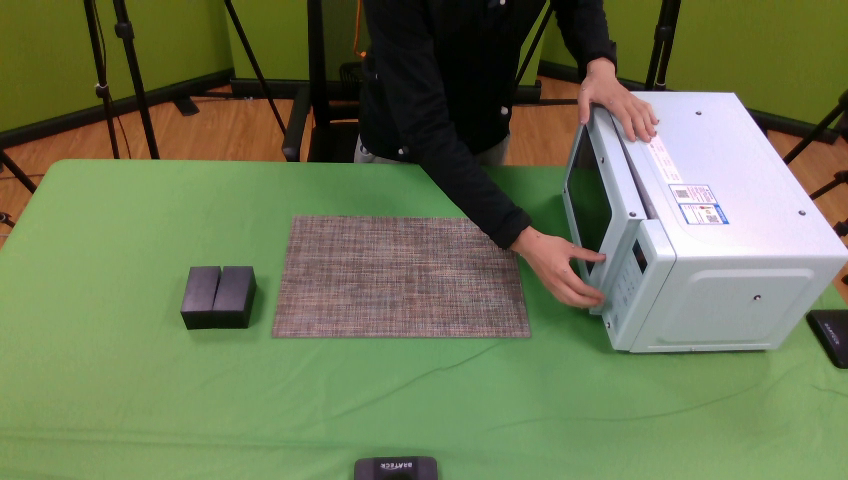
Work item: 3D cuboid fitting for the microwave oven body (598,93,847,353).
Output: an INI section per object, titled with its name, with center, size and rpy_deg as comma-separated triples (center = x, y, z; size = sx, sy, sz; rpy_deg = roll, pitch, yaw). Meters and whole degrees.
[microwave oven body]
center = 0.475, -0.041, 1.109
size = 0.326, 0.261, 0.438
rpy_deg = -1, 45, -4

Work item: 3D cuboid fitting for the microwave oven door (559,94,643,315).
[microwave oven door]
center = 0.317, -0.074, 1.122
size = 0.039, 0.245, 0.353
rpy_deg = 2, 46, -2

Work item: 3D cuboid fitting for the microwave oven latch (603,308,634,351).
[microwave oven latch]
center = 0.333, 0.153, 1.044
size = 0.030, 0.029, 0.078
rpy_deg = 0, 45, -3
